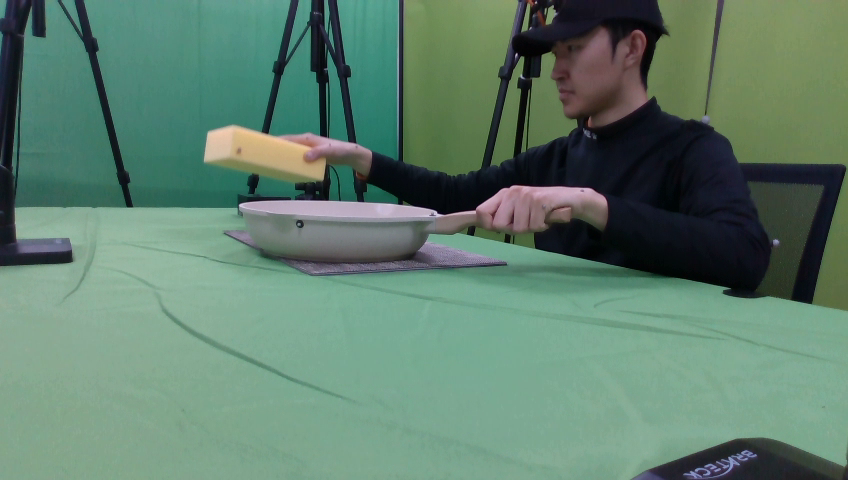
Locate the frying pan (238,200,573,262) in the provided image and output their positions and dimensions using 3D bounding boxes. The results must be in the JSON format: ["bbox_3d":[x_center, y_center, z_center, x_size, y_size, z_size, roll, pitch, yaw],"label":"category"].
[{"bbox_3d":[-0.033,-0.026,0.867,0.486,0.102,0.308,-3,5,25],"label":"frying pan"}]

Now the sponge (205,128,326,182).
[{"bbox_3d":[-0.317,-0.166,1.221,0.208,0.061,0.117,9,-5,-43],"label":"sponge"}]
